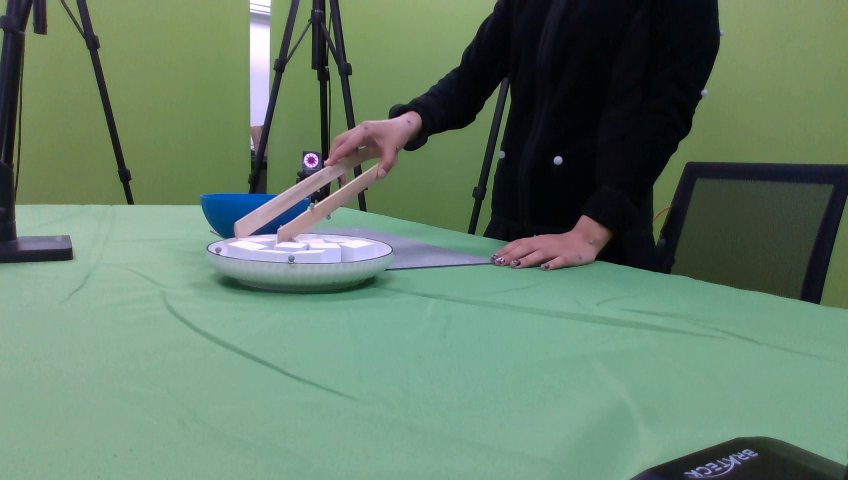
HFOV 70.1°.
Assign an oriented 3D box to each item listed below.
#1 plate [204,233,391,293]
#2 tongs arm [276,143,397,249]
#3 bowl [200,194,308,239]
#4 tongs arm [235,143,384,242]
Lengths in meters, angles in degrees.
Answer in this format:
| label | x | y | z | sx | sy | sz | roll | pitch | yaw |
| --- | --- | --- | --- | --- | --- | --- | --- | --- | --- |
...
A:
| label | x | y | z | sx | sy | sz | roll | pitch | yaw |
| --- | --- | --- | --- | --- | --- | --- | --- | --- | --- |
| plate | -0.143 | 0.025 | 0.697 | 0.208 | 0.039 | 0.207 | 3 | 9 | 0 |
| tongs arm | -0.117 | -0.077 | 0.867 | 0.050 | 0.026 | 0.385 | 9 | 26 | 20 |
| bowl | -0.245 | -0.025 | 0.879 | 0.151 | 0.077 | 0.151 | 2 | 8 | 0 |
| tongs arm | -0.149 | -0.082 | 0.877 | 0.028 | 0.028 | 0.388 | 5 | 24 | 21 |
